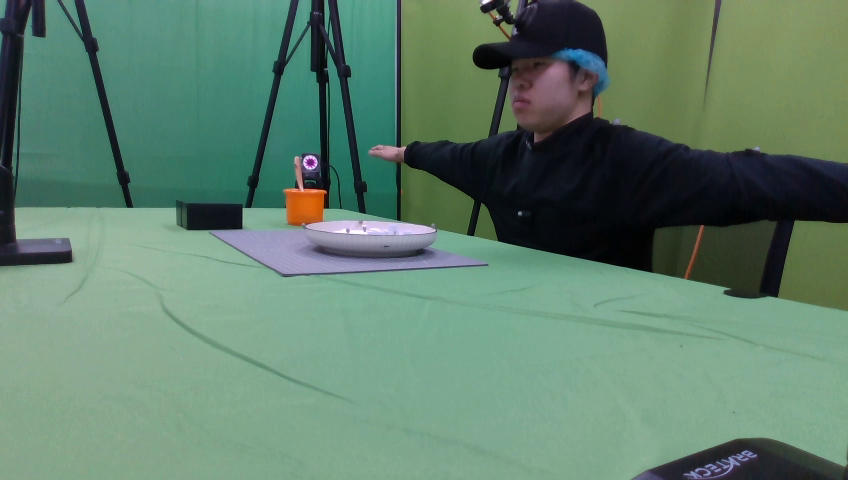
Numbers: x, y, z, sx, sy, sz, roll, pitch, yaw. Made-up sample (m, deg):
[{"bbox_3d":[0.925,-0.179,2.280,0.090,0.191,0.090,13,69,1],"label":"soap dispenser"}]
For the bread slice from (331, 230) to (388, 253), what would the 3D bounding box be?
[{"bbox_3d":[-0.088,0.000,0.947,0.105,0.019,0.131,-4,11,-44],"label":"bread slice"}]

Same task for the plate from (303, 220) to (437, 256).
[{"bbox_3d":[-0.084,-0.003,0.951,0.209,0.038,0.209,3,7,0],"label":"plate"}]

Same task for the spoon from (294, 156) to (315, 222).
[{"bbox_3d":[-0.271,-0.116,1.328,0.042,0.021,0.193,-2,48,-21],"label":"spoon"}]
